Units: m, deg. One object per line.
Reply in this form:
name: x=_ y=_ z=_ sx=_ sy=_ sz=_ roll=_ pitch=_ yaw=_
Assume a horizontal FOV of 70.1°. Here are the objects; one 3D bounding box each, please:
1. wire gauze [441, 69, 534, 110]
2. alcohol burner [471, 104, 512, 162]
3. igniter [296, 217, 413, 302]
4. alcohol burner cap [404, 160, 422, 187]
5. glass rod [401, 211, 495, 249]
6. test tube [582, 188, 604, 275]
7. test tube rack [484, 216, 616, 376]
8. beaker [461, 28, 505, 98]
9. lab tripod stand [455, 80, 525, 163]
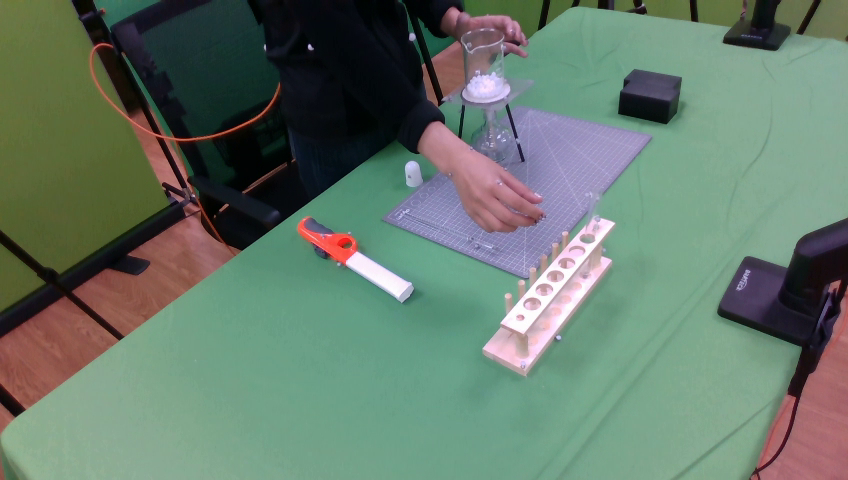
wire gauze: x=0.114 y=-0.268 z=1.082 sx=0.120 sy=0.011 sz=0.125 roll=22 pitch=47 yaw=29
alcohol burner: x=0.125 y=-0.207 z=1.126 sx=0.078 sy=0.119 sz=0.077 roll=-5 pitch=42 yaw=5
igniter: x=-0.121 y=0.025 z=0.970 sx=0.274 sy=0.025 sz=0.057 roll=29 pitch=63 yaw=37
alcohol burner cap: x=-0.022 y=-0.125 z=1.118 sx=0.034 sy=0.048 sz=0.033 roll=-5 pitch=40 yaw=4
glass rod: x=0.035 y=-0.018 z=1.001 sx=0.198 sy=0.008 sz=0.008 roll=22 pitch=50 yaw=35
test tube: x=0.229 y=-0.007 z=0.821 sx=0.017 sy=0.151 sz=0.017 roll=-3 pitch=42 yaw=3
test tube rack: x=0.174 y=0.064 z=0.823 sx=0.066 sy=0.085 sz=0.243 roll=23 pitch=49 yaw=33
beaker: x=0.103 y=-0.304 z=1.051 sx=0.073 sy=0.101 sz=0.084 roll=19 pitch=48 yaw=28
lab tripod stand: x=0.120 y=-0.219 z=1.126 sx=0.148 sy=0.132 sz=0.147 roll=-4 pitch=39 yaw=4
